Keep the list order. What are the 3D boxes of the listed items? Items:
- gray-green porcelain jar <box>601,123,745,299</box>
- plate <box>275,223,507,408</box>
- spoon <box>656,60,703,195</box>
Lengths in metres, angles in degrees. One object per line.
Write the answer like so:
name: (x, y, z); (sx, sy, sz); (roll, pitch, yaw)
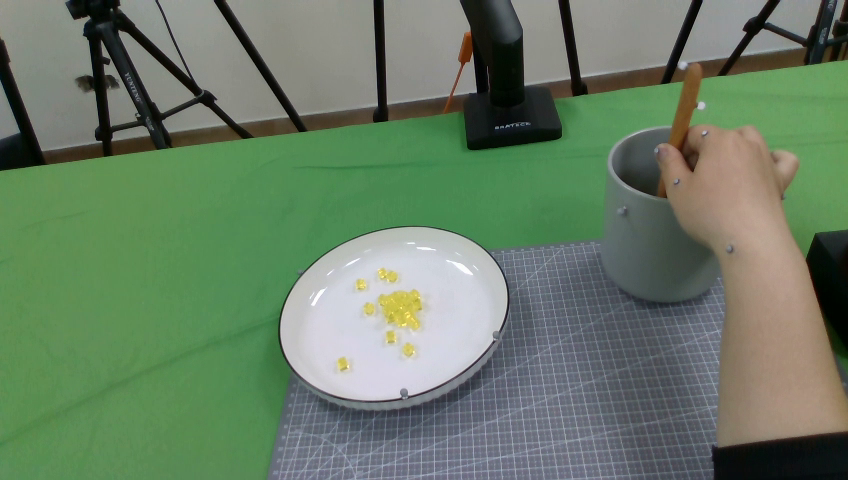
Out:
gray-green porcelain jar: (0.209, -0.020, 0.527); (0.106, 0.128, 0.105); (-6, 42, 6)
plate: (-0.028, 0.066, 0.550); (0.207, 0.039, 0.205); (-6, 42, 6)
spoon: (0.196, -0.047, 0.489); (0.022, 0.195, 0.041); (-17, 38, -19)
